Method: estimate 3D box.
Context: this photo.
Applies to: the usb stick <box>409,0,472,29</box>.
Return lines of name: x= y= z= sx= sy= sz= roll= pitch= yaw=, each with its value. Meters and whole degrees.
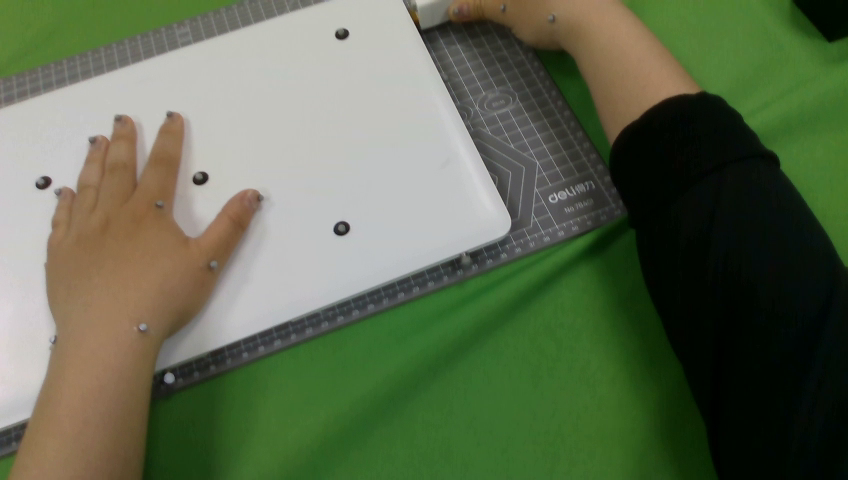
usb stick: x=0.005 y=-0.179 z=0.454 sx=0.059 sy=0.027 sz=0.021 roll=-23 pitch=60 yaw=0

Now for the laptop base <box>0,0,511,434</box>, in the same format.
laptop base: x=-0.146 y=-0.038 z=0.414 sx=0.354 sy=0.023 sz=0.233 roll=-21 pitch=69 yaw=-6

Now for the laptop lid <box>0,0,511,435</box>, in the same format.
laptop lid: x=-0.146 y=-0.040 z=0.404 sx=0.357 sy=0.013 sz=0.239 roll=-19 pitch=68 yaw=-5
